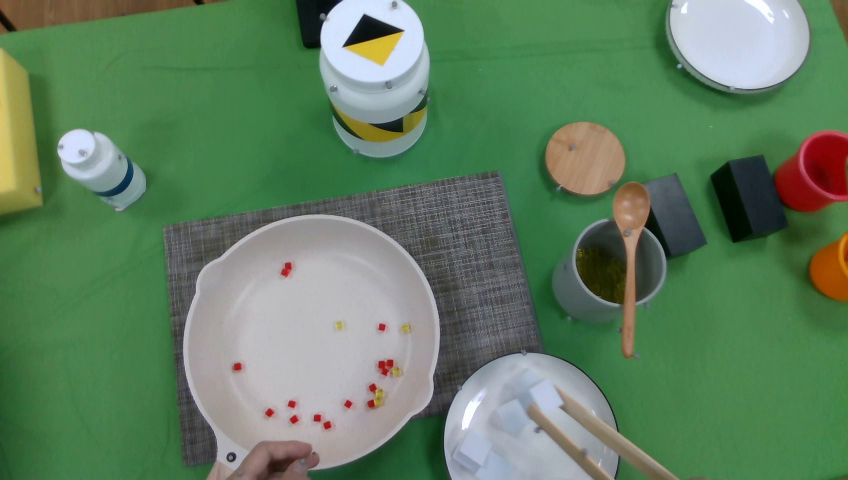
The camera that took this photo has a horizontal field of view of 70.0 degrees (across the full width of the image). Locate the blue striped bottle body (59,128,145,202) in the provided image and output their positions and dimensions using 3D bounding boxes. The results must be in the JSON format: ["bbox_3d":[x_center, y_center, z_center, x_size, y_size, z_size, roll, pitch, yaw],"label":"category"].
[{"bbox_3d":[-0.401,-0.095,0.749,0.063,0.121,0.062,0,74,-1],"label":"blue striped bottle body"}]

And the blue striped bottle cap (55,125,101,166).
[{"bbox_3d":[-0.400,-0.110,0.700,0.044,0.021,0.044,1,76,-3],"label":"blue striped bottle cap"}]

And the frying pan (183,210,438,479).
[{"bbox_3d":[-0.181,0.193,0.684,0.306,0.103,0.486,30,68,7],"label":"frying pan"}]

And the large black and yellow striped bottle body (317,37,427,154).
[{"bbox_3d":[-0.063,-0.203,0.759,0.131,0.185,0.130,1,74,-2],"label":"large black and yellow striped bottle body"}]

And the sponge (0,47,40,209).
[{"bbox_3d":[-0.586,-0.140,0.786,0.118,0.061,0.205,-15,77,-6],"label":"sponge"}]

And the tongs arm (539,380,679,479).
[{"bbox_3d":[0.262,0.265,0.577,0.384,0.028,0.028,38,44,27],"label":"tongs arm"}]

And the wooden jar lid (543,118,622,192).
[{"bbox_3d":[0.216,-0.115,0.830,0.108,0.021,0.108,1,76,-2],"label":"wooden jar lid"}]

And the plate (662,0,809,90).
[{"bbox_3d":[0.446,-0.308,0.880,0.209,0.038,0.208,1,75,-1],"label":"plate"}]

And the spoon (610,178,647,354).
[{"bbox_3d":[0.222,0.027,0.664,0.042,0.022,0.193,6,78,-4],"label":"spoon"}]

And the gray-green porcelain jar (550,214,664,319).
[{"bbox_3d":[0.213,0.037,0.733,0.106,0.127,0.105,1,74,-2],"label":"gray-green porcelain jar"}]

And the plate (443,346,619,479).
[{"bbox_3d":[0.125,0.232,0.721,0.208,0.039,0.206,1,76,-2],"label":"plate"}]

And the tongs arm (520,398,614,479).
[{"bbox_3d":[0.245,0.274,0.562,0.051,0.027,0.381,-25,52,-35],"label":"tongs arm"}]

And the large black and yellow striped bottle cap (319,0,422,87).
[{"bbox_3d":[-0.059,-0.227,0.679,0.115,0.019,0.114,1,76,-2],"label":"large black and yellow striped bottle cap"}]

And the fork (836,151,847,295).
[{"bbox_3d":[0.524,-0.017,0.747,0.028,0.018,0.209,-23,121,0],"label":"fork"}]
